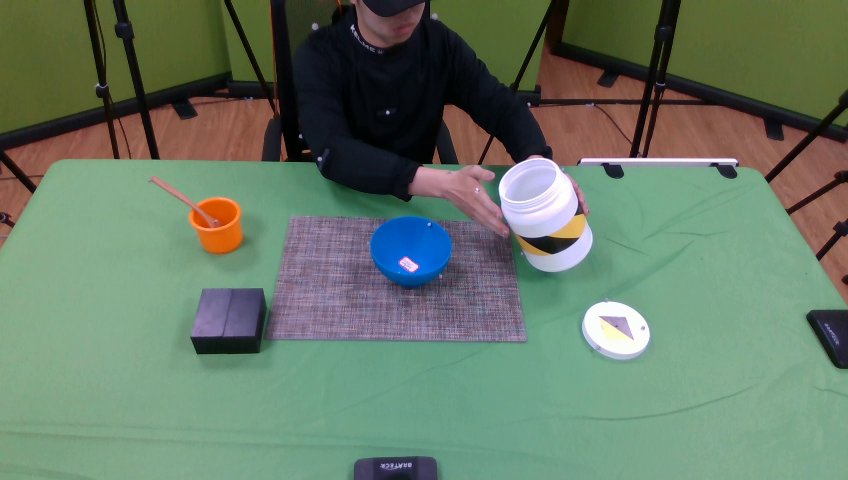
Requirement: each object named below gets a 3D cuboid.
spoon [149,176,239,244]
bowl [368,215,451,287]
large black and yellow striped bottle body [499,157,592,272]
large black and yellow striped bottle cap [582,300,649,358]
[{"bbox_3d":[-0.427,-0.057,1.132,0.021,0.195,0.041,-27,31,34],"label":"spoon"},{"bbox_3d":[-0.028,0.033,1.119,0.151,0.077,0.150,2,46,-2],"label":"bowl"},{"bbox_3d":[0.216,-0.046,1.086,0.130,0.185,0.130,-19,43,18],"label":"large black and yellow striped bottle body"},{"bbox_3d":[0.340,0.157,1.077,0.115,0.019,0.114,1,47,-1],"label":"large black and yellow striped bottle cap"}]
